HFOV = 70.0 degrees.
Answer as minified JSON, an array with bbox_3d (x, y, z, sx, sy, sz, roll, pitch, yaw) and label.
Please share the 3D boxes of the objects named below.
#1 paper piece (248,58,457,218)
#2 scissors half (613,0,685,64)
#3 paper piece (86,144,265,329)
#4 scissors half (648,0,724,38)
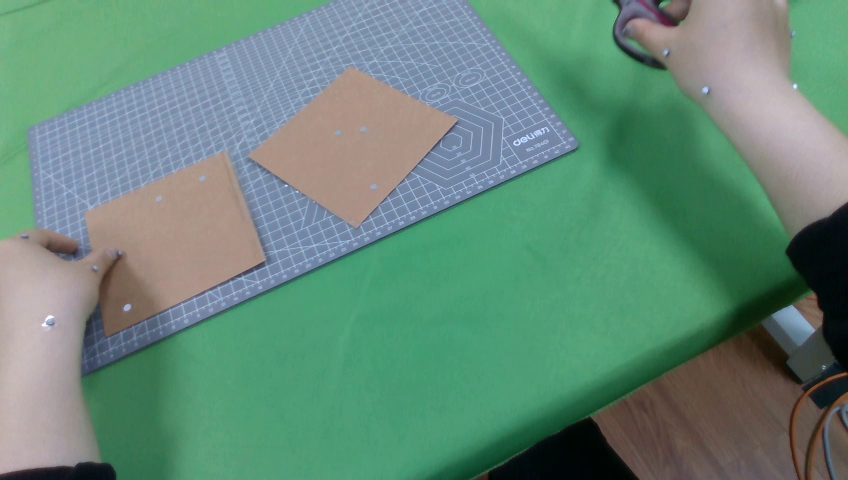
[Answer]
[{"bbox_3d":[-0.064,-0.096,0.530,0.134,0.004,0.135,33,70,25],"label":"paper piece"},{"bbox_3d":[0.140,-0.200,0.467,0.040,0.013,0.173,-24,68,-6],"label":"scissors half"},{"bbox_3d":[-0.211,-0.010,0.506,0.138,0.009,0.134,-26,54,-4],"label":"paper piece"},{"bbox_3d":[0.157,-0.212,0.470,0.174,0.013,0.040,41,81,19],"label":"scissors half"}]
